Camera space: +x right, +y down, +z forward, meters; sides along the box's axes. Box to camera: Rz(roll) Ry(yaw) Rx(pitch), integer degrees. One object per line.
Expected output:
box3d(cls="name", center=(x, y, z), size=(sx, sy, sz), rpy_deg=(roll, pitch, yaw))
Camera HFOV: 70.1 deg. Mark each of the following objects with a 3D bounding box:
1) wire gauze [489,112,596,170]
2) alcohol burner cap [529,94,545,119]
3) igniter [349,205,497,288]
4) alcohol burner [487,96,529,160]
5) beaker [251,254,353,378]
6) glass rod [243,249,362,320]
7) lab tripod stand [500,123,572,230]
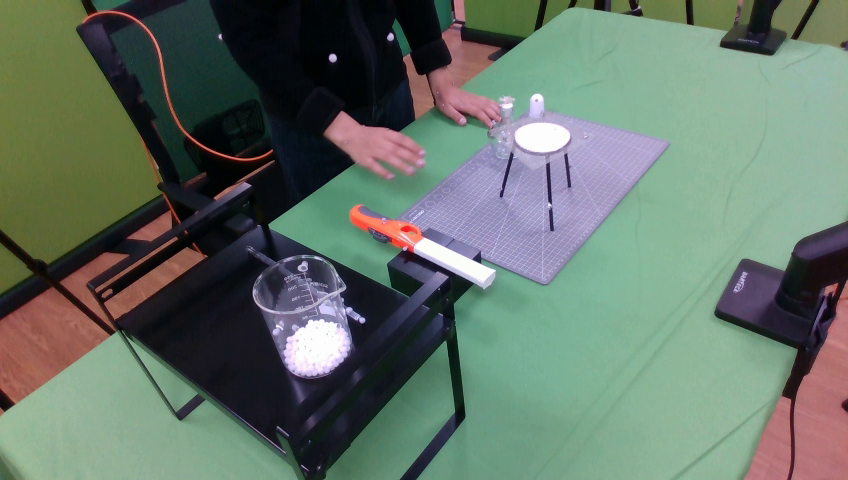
box3d(cls="wire gauze", center=(0.183, -0.161, 0.942), size=(0.122, 0.011, 0.124), rpy_deg=(-24, 44, -18))
box3d(cls="alcohol burner cap", center=(0.233, -0.277, 1.247), size=(0.034, 0.048, 0.033), rpy_deg=(-5, 41, 5))
box3d(cls="igniter", center=(-0.013, 0.004, 0.897), size=(0.274, 0.025, 0.057), rpy_deg=(25, 44, 32))
box3d(cls="alcohol burner", center=(0.155, -0.212, 1.126), size=(0.078, 0.119, 0.077), rpy_deg=(-6, 39, 5))
box3d(cls="beaker", center=(-0.106, 0.074, 0.565), size=(0.084, 0.101, 0.073), rpy_deg=(-1, 41, 8))
box3d(cls="glass rod", center=(-0.141, 0.046, 0.674), size=(0.198, 0.008, 0.008), rpy_deg=(24, 49, 32))
box3d(cls="lab tripod stand", center=(0.194, -0.110, 0.985), size=(0.148, 0.132, 0.147), rpy_deg=(-3, 41, 3))
